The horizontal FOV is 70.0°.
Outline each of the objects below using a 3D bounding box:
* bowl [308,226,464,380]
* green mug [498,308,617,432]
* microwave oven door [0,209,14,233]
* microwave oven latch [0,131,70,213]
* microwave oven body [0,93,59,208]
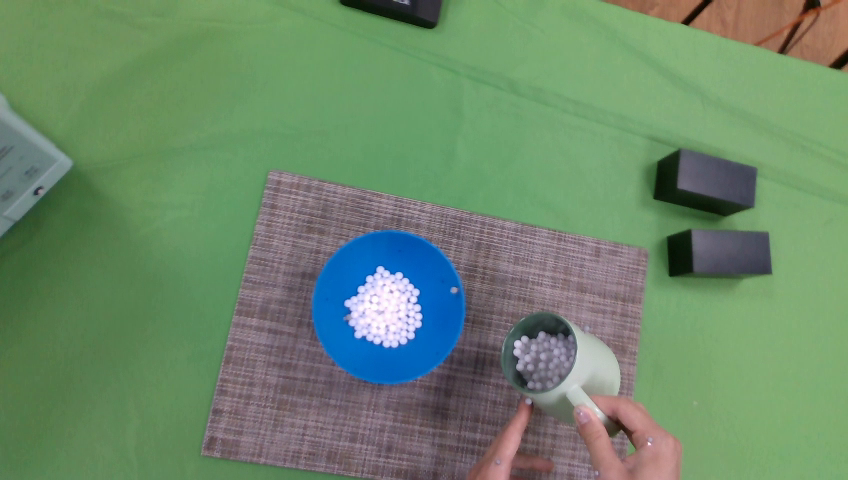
[{"bbox_3d":[-0.042,0.066,0.620,0.152,0.077,0.151,2,80,-10],"label":"bowl"},{"bbox_3d":[0.139,0.131,0.583,0.092,0.106,0.124,-45,46,7],"label":"green mug"},{"bbox_3d":[-0.501,0.083,0.437,0.039,0.244,0.355,39,77,-1],"label":"microwave oven door"},{"bbox_3d":[-0.383,-0.064,0.586,0.030,0.029,0.079,41,77,-2],"label":"microwave oven latch"},{"bbox_3d":[-0.590,-0.040,0.446,0.326,0.260,0.441,39,77,-2],"label":"microwave oven body"}]
